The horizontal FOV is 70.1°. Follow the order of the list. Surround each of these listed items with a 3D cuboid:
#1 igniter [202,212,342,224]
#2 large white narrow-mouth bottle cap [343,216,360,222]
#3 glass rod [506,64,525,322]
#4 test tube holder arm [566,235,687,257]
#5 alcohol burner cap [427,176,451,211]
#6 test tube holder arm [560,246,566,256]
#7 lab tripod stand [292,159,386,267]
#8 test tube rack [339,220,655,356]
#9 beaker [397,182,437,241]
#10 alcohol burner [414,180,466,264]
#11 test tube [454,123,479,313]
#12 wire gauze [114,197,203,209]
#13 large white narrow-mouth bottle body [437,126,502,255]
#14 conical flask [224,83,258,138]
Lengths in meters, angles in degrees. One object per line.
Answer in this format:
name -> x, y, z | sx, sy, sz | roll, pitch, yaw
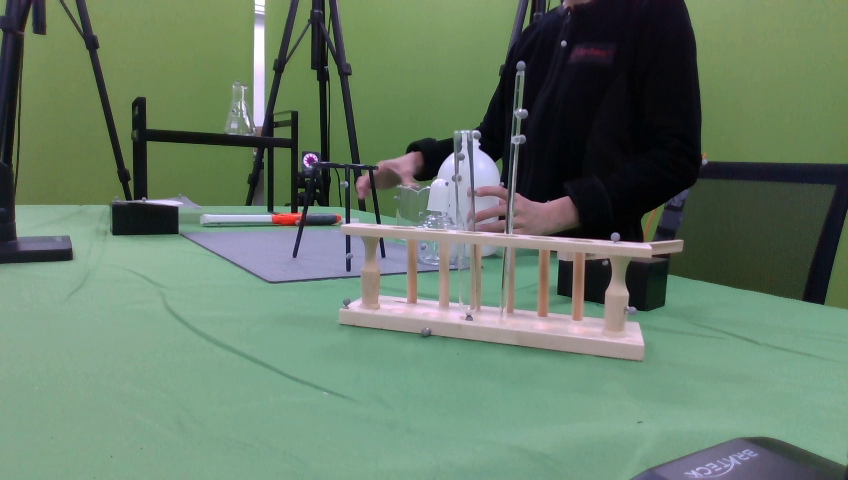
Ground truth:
igniter -> -0.298, -0.044, 1.216 | 0.278, 0.025, 0.057 | -2, -2, -32
large white narrow-mouth bottle cap -> -0.148, -0.036, 1.234 | 0.038, 0.024, 0.037 | 2, 8, 0
glass rod -> 0.069, -0.030, 0.458 | 0.008, 0.199, 0.008 | 0, 15, 0
test tube holder arm -> 0.215, 0.006, 0.630 | 0.179, 0.015, 0.013 | -3, 10, -30
alcohol burner cap -> 0.023, -0.064, 0.822 | 0.034, 0.048, 0.034 | 7, 4, 0
test tube holder arm -> 0.173, 0.007, 0.611 | 0.088, 0.015, 0.010 | -3, 10, -30
lab tripod stand -> -0.104, -0.039, 0.798 | 0.148, 0.131, 0.148 | 2, 5, 0
test tube rack -> 0.056, 0.032, 0.495 | 0.242, 0.085, 0.067 | 4, 7, 15
beaker -> -0.012, -0.051, 1.072 | 0.074, 0.100, 0.084 | 1, 8, -4
alcohol burner -> 0.021, -0.028, 0.826 | 0.078, 0.119, 0.078 | 0, 6, 0
test tube -> 0.034, -0.016, 0.477 | 0.017, 0.150, 0.017 | -2, 9, 1
wire gauze -> -0.447, -0.062, 1.015 | 0.126, 0.011, 0.121 | -2, 8, -31
large white narrow-mouth bottle body -> 0.072, -0.079, 0.938 | 0.102, 0.194, 0.102 | 1, 8, 0
conical flask -> -0.422, -0.299, 1.395 | 0.075, 0.122, 0.075 | 2, 7, 0
